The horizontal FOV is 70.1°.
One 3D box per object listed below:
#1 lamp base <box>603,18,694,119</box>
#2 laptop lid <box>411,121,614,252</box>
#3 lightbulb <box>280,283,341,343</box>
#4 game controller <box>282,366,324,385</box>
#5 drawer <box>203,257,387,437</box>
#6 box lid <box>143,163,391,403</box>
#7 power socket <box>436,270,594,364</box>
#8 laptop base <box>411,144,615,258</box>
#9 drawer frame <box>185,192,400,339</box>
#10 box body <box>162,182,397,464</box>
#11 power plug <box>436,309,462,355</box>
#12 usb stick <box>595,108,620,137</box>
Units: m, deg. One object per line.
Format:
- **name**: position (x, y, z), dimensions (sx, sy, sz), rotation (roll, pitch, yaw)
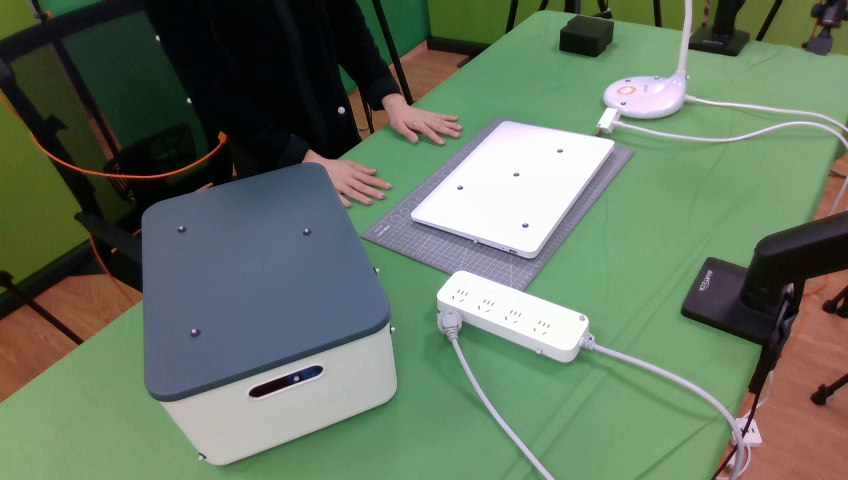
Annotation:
- **lamp base**: position (0.460, -0.355, 1.205), dimensions (0.179, 0.181, 0.160), rotation (2, 41, 7)
- **laptop lid**: position (0.164, -0.112, 1.068), dimensions (0.240, 0.013, 0.357), rotation (19, 46, 30)
- **lightbulb**: position (-0.152, 0.102, 0.826), dimensions (0.060, 0.060, 0.107), rotation (-35, 61, -29)
- **game controller**: position (-0.159, 0.114, 0.735), dimensions (0.154, 0.052, 0.097), rotation (29, 51, 34)
- **drawer**: position (-0.171, 0.127, 0.779), dimensions (0.195, 0.073, 0.210), rotation (-16, 35, -15)
- **box lid**: position (-0.212, 0.025, 0.753), dimensions (0.264, 0.015, 0.368), rotation (-18, 40, -13)
- **power socket**: position (0.118, 0.102, 0.830), dimensions (0.225, 0.033, 0.072), rotation (20, 48, 28)
- **laptop base**: position (0.167, -0.102, 1.074), dimensions (0.234, 0.023, 0.355), rotation (16, 45, 30)
- **drawer frame**: position (-0.174, 0.079, 0.769), dimensions (0.201, 0.214, 0.082), rotation (-31, 18, 25)
- **box body**: position (-0.205, 0.080, 0.802), dimensions (0.255, 0.161, 0.361), rotation (-18, 41, -13)
- **power plug**: position (0.032, 0.126, 0.809), dimensions (0.035, 0.053, 0.072), rotation (3, 59, 7)
- **usb stick**: position (0.355, -0.225, 1.175), dimensions (0.027, 0.022, 0.059), rotation (29, 85, 40)
